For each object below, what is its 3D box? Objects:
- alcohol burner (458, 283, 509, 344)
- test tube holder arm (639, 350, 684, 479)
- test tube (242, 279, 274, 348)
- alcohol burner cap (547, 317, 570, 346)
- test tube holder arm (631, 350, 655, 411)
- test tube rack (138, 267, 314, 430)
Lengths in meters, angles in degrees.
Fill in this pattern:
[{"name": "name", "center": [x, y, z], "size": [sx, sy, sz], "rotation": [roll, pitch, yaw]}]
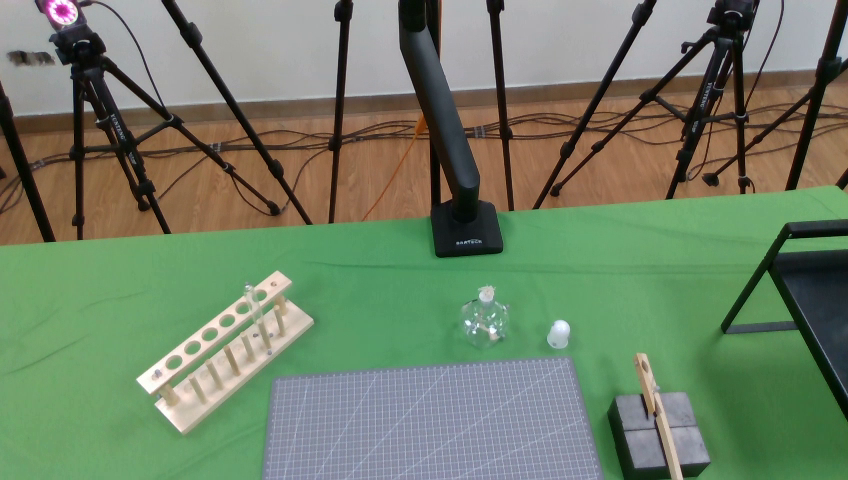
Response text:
[{"name": "alcohol burner", "center": [0.091, 0.104, 0.909], "size": [0.078, 0.120, 0.077], "rotation": [1, 48, -1]}, {"name": "test tube holder arm", "center": [0.311, 0.227, 0.805], "size": [0.013, 0.015, 0.176], "rotation": [1, 50, -9]}, {"name": "test tube", "center": [-0.236, 0.107, 0.865], "size": [0.017, 0.151, 0.017], "rotation": [0, 47, 1]}, {"name": "alcohol burner cap", "center": [0.207, 0.138, 0.928], "size": [0.034, 0.048, 0.033], "rotation": [0, 49, 0]}, {"name": "test tube holder arm", "center": [0.302, 0.192, 0.832], "size": [0.010, 0.015, 0.087], "rotation": [2, 50, -8]}, {"name": "test tube rack", "center": [-0.279, 0.153, 0.885], "size": [0.066, 0.086, 0.242], "rotation": [33, 57, 25]}]
